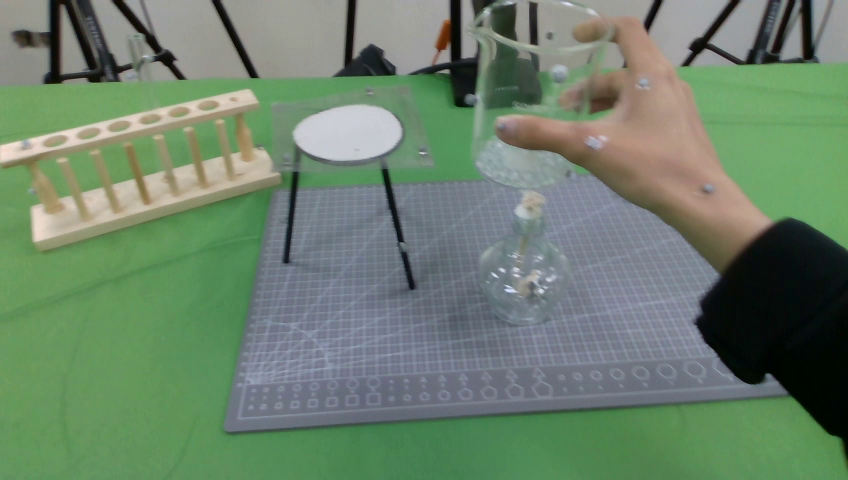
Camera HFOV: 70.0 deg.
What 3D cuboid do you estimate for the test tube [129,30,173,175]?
[{"bbox_3d":[-0.271,-0.132,0.607,0.017,0.151,0.017,3,35,-1],"label":"test tube"}]

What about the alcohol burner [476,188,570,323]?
[{"bbox_3d":[0.082,0.009,0.492,0.078,0.120,0.077,0,39,1],"label":"alcohol burner"}]

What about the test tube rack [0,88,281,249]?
[{"bbox_3d":[-0.280,-0.078,0.621,0.243,0.086,0.066,-19,44,-21],"label":"test tube rack"}]

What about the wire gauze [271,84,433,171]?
[{"bbox_3d":[-0.063,-0.092,0.492,0.125,0.011,0.120,-7,41,-6],"label":"wire gauze"}]

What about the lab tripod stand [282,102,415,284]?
[{"bbox_3d":[-0.062,-0.042,0.537,0.148,0.133,0.147,-1,43,1],"label":"lab tripod stand"}]

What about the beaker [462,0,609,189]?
[{"bbox_3d":[0.062,-0.089,0.376,0.084,0.101,0.073,2,42,-1],"label":"beaker"}]

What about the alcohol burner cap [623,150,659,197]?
[{"bbox_3d":[0.231,-0.074,0.642,0.034,0.048,0.033,0,41,0],"label":"alcohol burner cap"}]
